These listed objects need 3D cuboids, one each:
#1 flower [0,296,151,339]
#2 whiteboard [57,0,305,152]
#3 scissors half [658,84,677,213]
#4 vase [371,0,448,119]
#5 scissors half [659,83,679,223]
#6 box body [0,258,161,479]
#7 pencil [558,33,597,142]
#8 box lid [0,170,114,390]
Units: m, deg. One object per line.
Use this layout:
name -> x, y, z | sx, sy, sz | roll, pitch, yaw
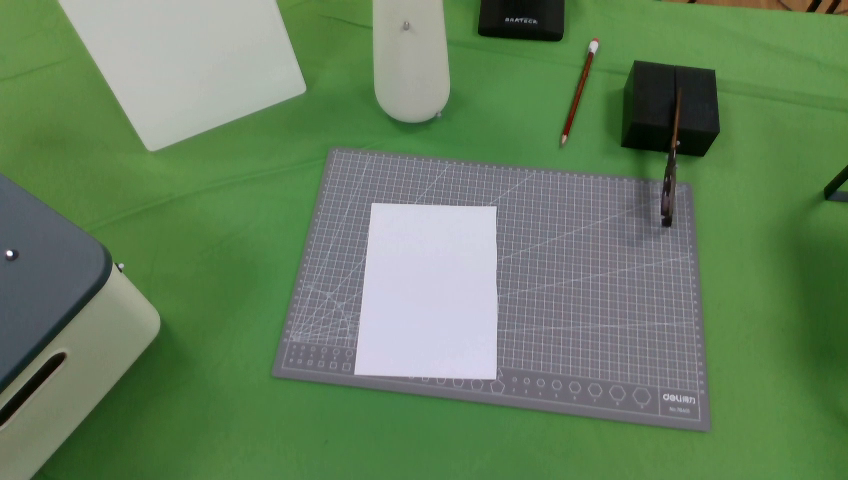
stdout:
flower -> -0.471, 0.091, 0.650 | 0.361, 0.038, 0.044 | -3, 94, 5
whiteboard -> -0.307, -0.304, 0.728 | 0.217, 0.308, 0.142 | -25, 46, -11
scissors half -> 0.284, -0.111, 0.697 | 0.013, 0.040, 0.174 | 5, 64, 24
vase -> -0.020, -0.237, 0.717 | 0.098, 0.201, 0.097 | -1, 61, 2
scissors half -> 0.292, -0.104, 0.715 | 0.012, 0.040, 0.174 | 4, 81, 29
box body -> -0.482, 0.057, 0.590 | 0.362, 0.161, 0.253 | 30, 67, 14
pencil -> 0.203, -0.205, 0.805 | 0.012, 0.012, 0.193 | 18, 66, 10
box lid -> -0.485, 0.022, 0.525 | 0.369, 0.015, 0.262 | 30, 67, 14
